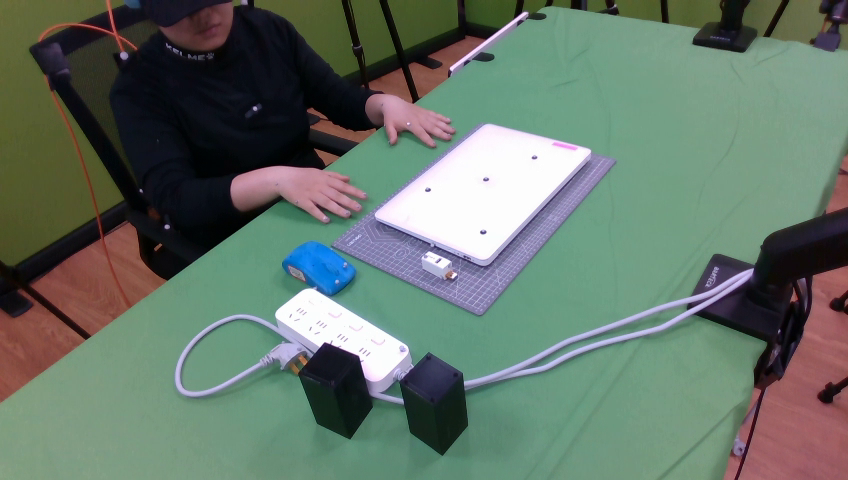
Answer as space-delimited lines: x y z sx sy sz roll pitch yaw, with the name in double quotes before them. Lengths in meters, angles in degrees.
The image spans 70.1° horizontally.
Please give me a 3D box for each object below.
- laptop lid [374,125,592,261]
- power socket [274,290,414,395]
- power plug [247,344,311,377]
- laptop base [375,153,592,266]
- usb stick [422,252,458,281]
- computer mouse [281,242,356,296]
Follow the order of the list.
"laptop lid" 0.109 -0.101 1.057 0.239 0.013 0.358 23 48 34
"power socket" -0.114 0.134 0.820 0.225 0.033 0.072 25 49 33
"power plug" -0.187 0.169 0.798 0.072 0.035 0.052 -42 71 -4
"laptop base" 0.112 -0.091 1.063 0.233 0.023 0.355 21 47 34
"usb stick" 0.025 0.042 0.908 0.058 0.027 0.021 27 48 31
"computer mouse" -0.164 0.041 0.934 0.116 0.041 0.063 27 48 28
